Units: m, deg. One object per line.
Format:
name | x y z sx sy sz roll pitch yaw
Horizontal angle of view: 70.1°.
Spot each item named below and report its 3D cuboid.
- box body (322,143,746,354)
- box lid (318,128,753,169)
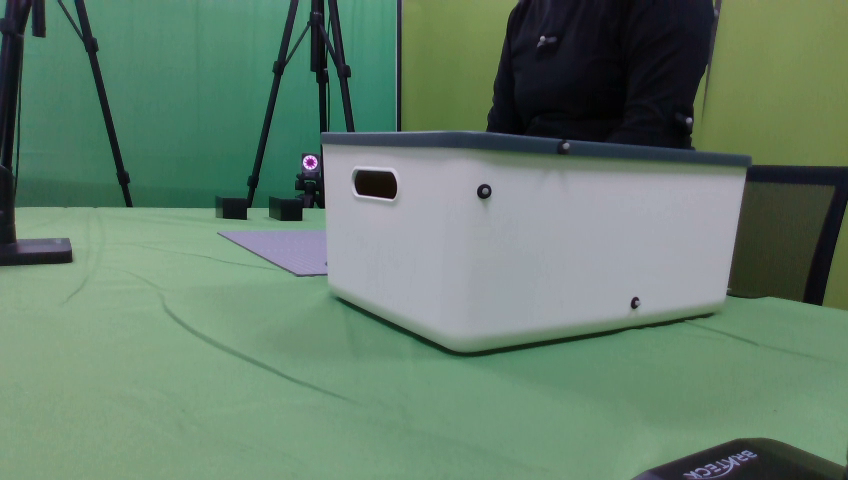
box body | 0.106 -0.011 0.603 0.366 0.160 0.253 -2 8 -34
box lid | 0.107 -0.085 0.594 0.373 0.015 0.262 -1 8 -34
